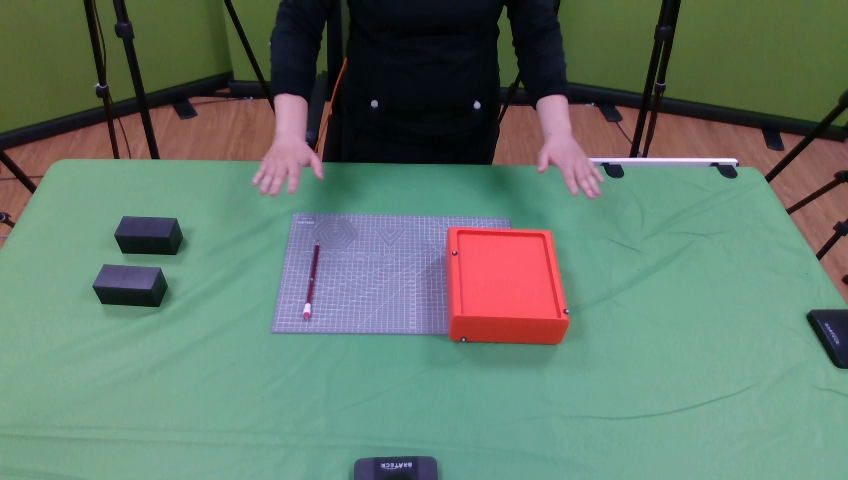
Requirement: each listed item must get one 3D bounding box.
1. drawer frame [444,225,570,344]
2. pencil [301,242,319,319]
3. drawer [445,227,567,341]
[{"bbox_3d":[0.141,0.077,1.088,0.202,0.083,0.212,2,47,-4],"label":"drawer frame"},{"bbox_3d":[-0.208,0.070,1.119,0.012,0.012,0.193,2,43,-2],"label":"pencil"},{"bbox_3d":[0.139,0.076,1.091,0.195,0.073,0.210,3,47,-4],"label":"drawer"}]
